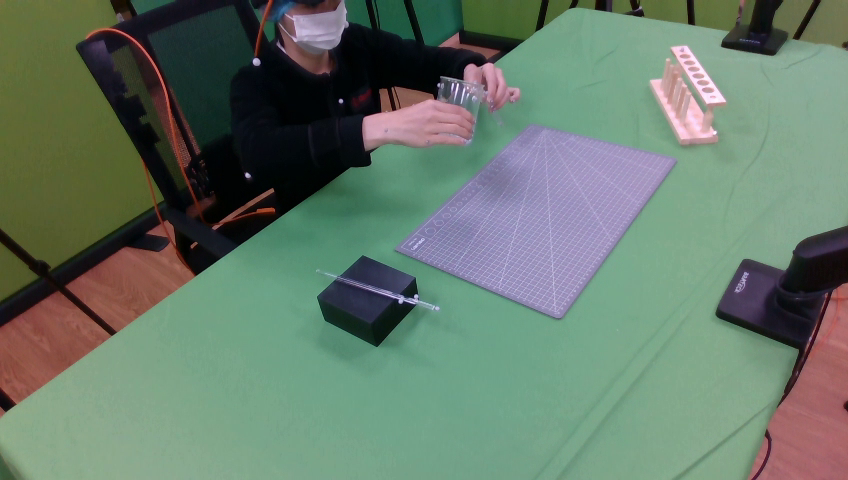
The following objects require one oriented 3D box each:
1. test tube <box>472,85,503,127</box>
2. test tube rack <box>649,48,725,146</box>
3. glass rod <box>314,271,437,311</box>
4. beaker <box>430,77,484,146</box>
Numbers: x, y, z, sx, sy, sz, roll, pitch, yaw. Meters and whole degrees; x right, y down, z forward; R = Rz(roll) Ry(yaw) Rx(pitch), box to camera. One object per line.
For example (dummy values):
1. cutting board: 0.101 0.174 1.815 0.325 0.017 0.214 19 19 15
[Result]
1. test tube: 0.116 -0.237 1.080 0.017 0.151 0.017 -6 75 22
2. test tube rack: 0.508 -0.285 1.186 0.067 0.085 0.241 -4 40 6
3. glass rod: -0.071 0.069 0.837 0.198 0.008 0.008 14 44 24
4. beaker: 0.053 -0.207 0.982 0.073 0.100 0.084 20 17 30
